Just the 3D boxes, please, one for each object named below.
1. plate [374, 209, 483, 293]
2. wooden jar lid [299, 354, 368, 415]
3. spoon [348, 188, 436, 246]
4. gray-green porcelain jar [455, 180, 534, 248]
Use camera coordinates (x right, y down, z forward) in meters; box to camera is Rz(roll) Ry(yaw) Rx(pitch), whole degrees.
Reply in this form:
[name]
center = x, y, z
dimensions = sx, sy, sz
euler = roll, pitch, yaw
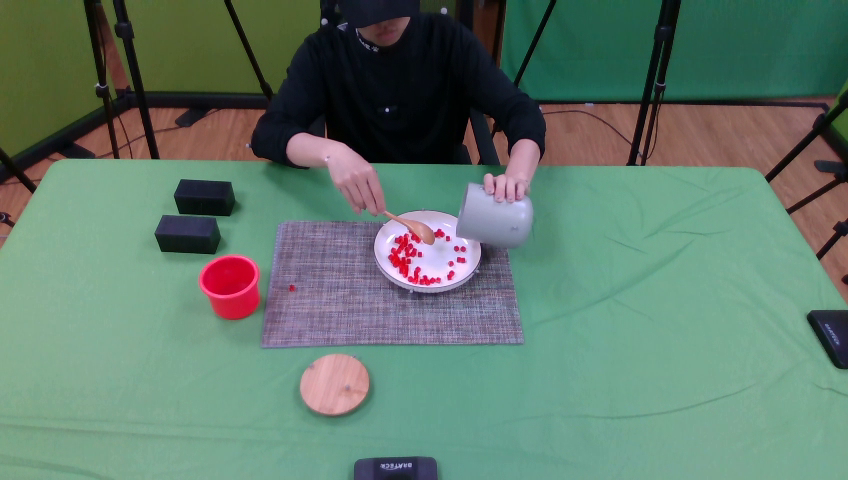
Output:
[plate]
center = 0.008, 0.024, 1.158
dimensions = 0.208, 0.039, 0.206
euler = 2, 46, -2
[wooden jar lid]
center = -0.143, 0.232, 0.964
dimensions = 0.108, 0.021, 0.107
euler = 2, 45, -2
[spoon]
center = -0.058, -0.043, 1.126
dimensions = 0.194, 0.022, 0.041
euler = 27, 32, -9
[gray-green porcelain jar]
center = 0.131, -0.045, 1.112
dimensions = 0.126, 0.106, 0.105
euler = 13, 46, -3
